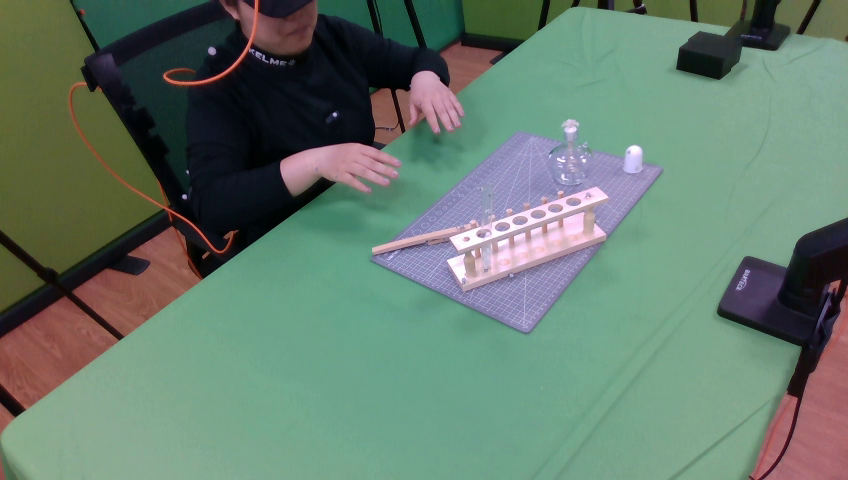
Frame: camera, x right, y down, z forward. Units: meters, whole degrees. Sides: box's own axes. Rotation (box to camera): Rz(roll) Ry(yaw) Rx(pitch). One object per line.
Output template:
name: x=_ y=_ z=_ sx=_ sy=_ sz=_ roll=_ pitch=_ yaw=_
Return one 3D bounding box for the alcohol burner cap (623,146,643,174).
alcohol burner cap: x=0.369 y=-0.143 z=1.061 sx=0.034 sy=0.048 sz=0.033 roll=-6 pitch=41 yaw=6

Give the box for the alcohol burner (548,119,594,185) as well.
alcohol burner: x=0.254 y=-0.155 z=1.043 sx=0.078 sy=0.120 sz=0.077 roll=-7 pitch=40 yaw=6

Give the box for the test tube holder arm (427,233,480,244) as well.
test tube holder arm: x=0.048 y=-0.006 z=0.986 sx=0.088 sy=0.010 sz=0.015 roll=-7 pitch=35 yaw=-5

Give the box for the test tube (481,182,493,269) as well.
test tube: x=0.089 y=-0.016 z=0.854 sx=0.017 sy=0.151 sz=0.017 roll=-2 pitch=39 yaw=2

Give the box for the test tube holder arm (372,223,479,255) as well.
test tube holder arm: x=0.003 y=-0.002 z=0.980 sx=0.178 sy=0.013 sz=0.015 roll=-12 pitch=34 yaw=-2

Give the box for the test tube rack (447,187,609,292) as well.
test tube rack: x=0.154 y=-0.011 z=0.913 sx=0.243 sy=0.085 sz=0.066 roll=-19 pitch=41 yaw=-11
